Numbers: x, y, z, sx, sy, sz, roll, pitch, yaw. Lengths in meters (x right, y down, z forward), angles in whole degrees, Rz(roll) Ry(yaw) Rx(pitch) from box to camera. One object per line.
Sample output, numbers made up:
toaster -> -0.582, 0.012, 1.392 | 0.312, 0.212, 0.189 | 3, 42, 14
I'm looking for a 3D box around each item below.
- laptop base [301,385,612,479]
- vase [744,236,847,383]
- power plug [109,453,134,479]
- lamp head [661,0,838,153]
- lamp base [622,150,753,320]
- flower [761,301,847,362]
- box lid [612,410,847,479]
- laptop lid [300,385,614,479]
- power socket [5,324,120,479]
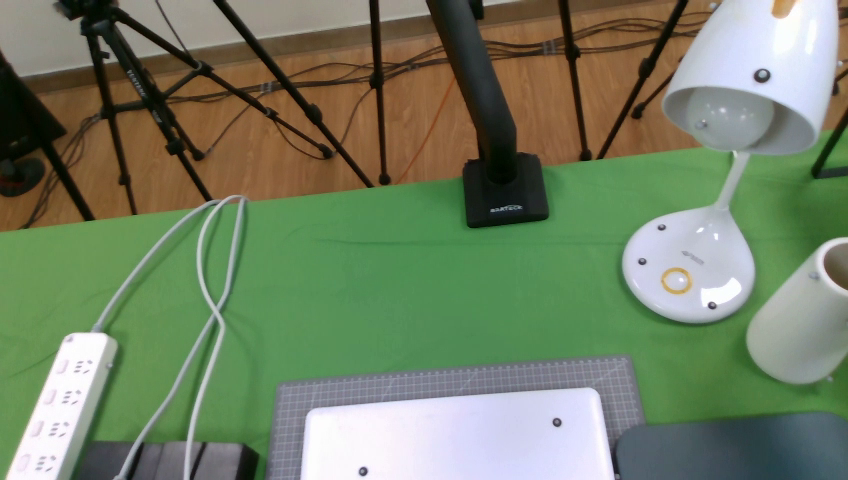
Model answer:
laptop base -> 0.032, 0.288, 0.677 | 0.354, 0.023, 0.233 | -6, 61, 6
vase -> 0.412, 0.076, 0.641 | 0.098, 0.202, 0.097 | -5, 56, 8
power plug -> -0.341, 0.292, 0.698 | 0.035, 0.053, 0.072 | 26, 71, 45
lamp head -> 0.254, -0.139, 0.457 | 0.112, 0.113, 0.122 | 22, 81, 22
lamp base -> 0.335, -0.020, 0.727 | 0.159, 0.182, 0.178 | 25, 62, 23
flower -> 0.415, 0.042, 0.561 | 0.044, 0.364, 0.038 | 14, 56, 3
box lid -> 0.345, 0.351, 0.589 | 0.263, 0.015, 0.368 | -5, 57, 5
laptop lid -> 0.031, 0.284, 0.666 | 0.356, 0.013, 0.239 | -4, 60, 7
power socket -> -0.472, 0.215, 0.799 | 0.072, 0.033, 0.224 | 0, 57, 8
